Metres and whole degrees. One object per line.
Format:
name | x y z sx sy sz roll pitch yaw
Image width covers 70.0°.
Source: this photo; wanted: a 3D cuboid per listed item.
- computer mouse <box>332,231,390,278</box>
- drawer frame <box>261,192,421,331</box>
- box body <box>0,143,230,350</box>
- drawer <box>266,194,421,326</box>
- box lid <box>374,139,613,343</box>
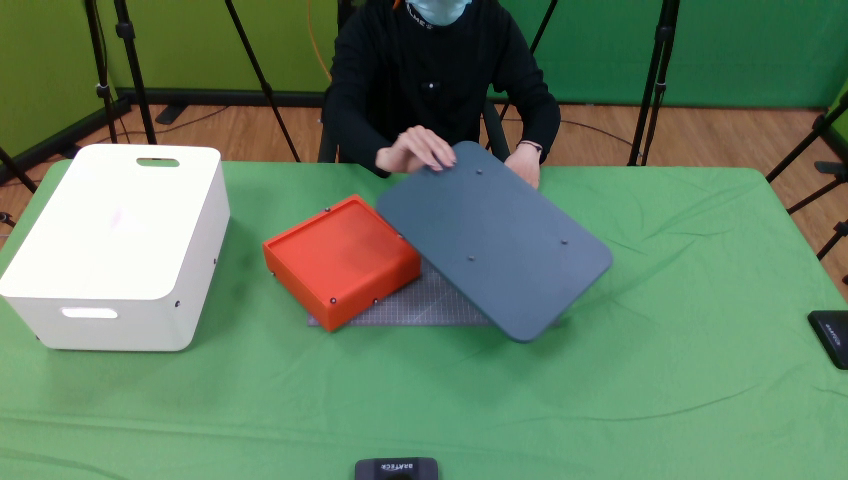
computer mouse | -0.120 0.022 1.142 0.063 0.041 0.116 -35 51 -27
drawer frame | -0.148 0.032 1.110 0.213 0.083 0.200 -33 57 -29
box body | -0.502 0.007 1.055 0.254 0.161 0.361 1 46 -3
drawer | -0.146 0.031 1.113 0.212 0.073 0.193 -33 57 -29
box lid | 0.119 -0.018 1.056 0.263 0.015 0.370 -37 68 -27
